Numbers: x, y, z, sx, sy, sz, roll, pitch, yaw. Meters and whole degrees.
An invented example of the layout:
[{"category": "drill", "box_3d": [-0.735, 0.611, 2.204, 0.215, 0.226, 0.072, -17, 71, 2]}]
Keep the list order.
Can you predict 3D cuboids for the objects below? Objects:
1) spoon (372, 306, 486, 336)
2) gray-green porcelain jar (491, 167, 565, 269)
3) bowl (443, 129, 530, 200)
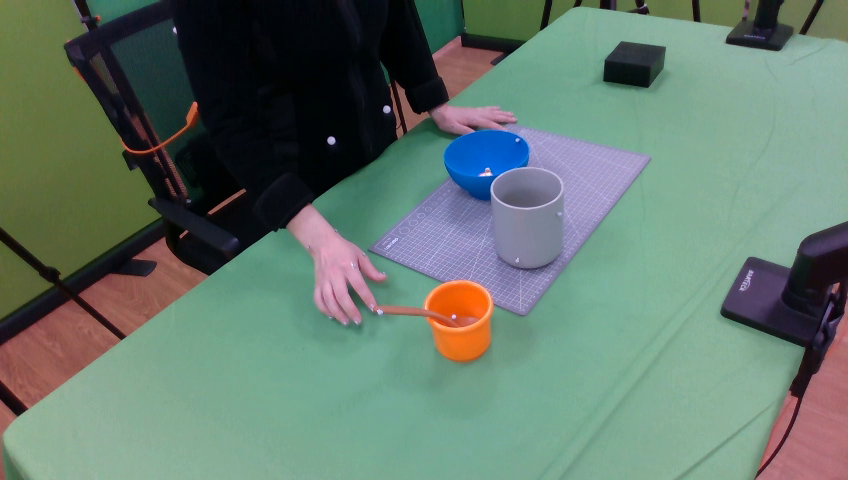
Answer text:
[{"category": "spoon", "box_3d": [0.010, 0.098, 0.770, 0.041, 0.195, 0.021, 44, 107, 45]}, {"category": "gray-green porcelain jar", "box_3d": [0.157, -0.029, 0.904, 0.106, 0.127, 0.105, -6, 40, 5]}, {"category": "bowl", "box_3d": [0.113, -0.123, 1.063, 0.151, 0.077, 0.150, -6, 40, 5]}]
